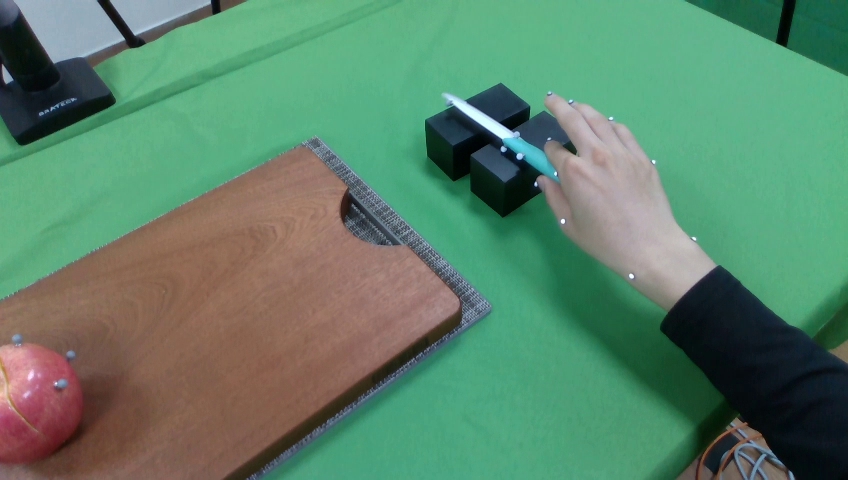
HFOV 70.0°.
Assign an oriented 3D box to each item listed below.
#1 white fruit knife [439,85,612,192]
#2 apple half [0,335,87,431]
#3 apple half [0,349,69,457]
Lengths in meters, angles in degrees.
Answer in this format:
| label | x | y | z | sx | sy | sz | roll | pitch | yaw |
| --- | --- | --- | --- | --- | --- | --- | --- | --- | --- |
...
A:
| label | x | y | z | sx | sy | sz | roll | pitch | yaw |
| --- | --- | --- | --- | --- | --- | --- | --- | --- | --- |
| white fruit knife | 0.088 | -0.102 | 0.581 | 0.205 | 0.016 | 0.027 | 39 | 40 | 28 |
| apple half | -0.266 | 0.099 | 0.439 | 0.033 | 0.082 | 0.080 | -33 | 57 | -17 |
| apple half | -0.298 | 0.119 | 0.427 | 0.053 | 0.075 | 0.080 | -34 | 61 | -16 |
